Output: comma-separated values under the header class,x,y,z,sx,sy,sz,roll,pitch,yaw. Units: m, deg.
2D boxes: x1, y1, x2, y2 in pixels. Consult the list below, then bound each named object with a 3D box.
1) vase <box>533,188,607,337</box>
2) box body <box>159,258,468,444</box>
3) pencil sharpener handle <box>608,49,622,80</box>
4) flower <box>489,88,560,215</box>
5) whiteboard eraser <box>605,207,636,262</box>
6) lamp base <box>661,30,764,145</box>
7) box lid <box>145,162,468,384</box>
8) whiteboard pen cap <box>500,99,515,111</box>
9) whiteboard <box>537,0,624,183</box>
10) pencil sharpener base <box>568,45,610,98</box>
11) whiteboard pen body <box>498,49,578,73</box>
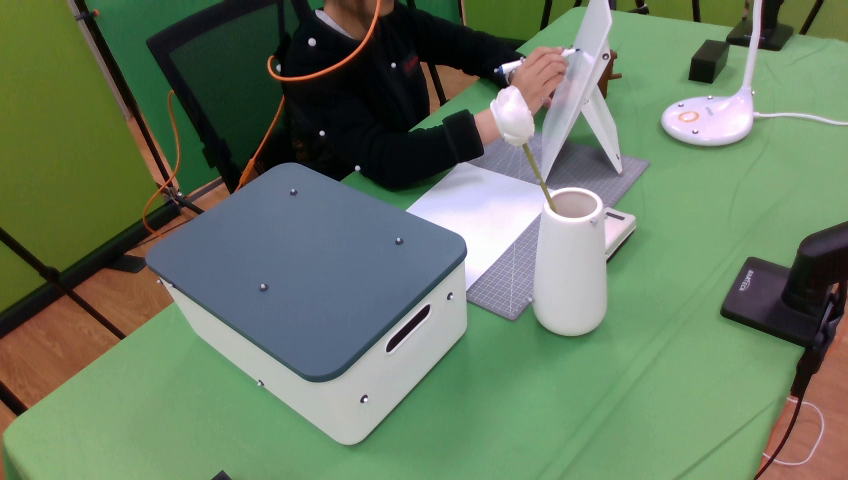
class,x,y,z,sx,sy,sz,roll,pitch,yaw
vase,0.187,0.033,0.771,0.098,0.201,0.097,-6,41,6
box body,-0.147,0.072,0.816,0.361,0.161,0.255,24,50,33
pencil sharpener handle,0.394,-0.368,1.253,0.030,0.068,0.036,-9,32,1
flower,0.158,-0.028,0.720,0.038,0.364,0.044,-14,44,23
whiteboard eraser,0.273,-0.003,0.919,0.055,0.042,0.113,27,51,33
lamp base,0.535,-0.287,1.096,0.179,0.181,0.159,-10,40,-4
box lid,-0.157,0.014,0.769,0.368,0.015,0.264,25,51,33
whiteboard pen cap,0.177,-0.287,1.289,0.033,0.018,0.018,-38,48,-26
whiteboard,0.316,-0.256,1.047,0.144,0.306,0.216,15,42,-1
pencil sharpener base,0.345,-0.352,1.263,0.077,0.107,0.061,-9,40,1
whiteboard pen body,0.197,-0.312,1.044,0.141,0.017,0.017,-13,40,5
